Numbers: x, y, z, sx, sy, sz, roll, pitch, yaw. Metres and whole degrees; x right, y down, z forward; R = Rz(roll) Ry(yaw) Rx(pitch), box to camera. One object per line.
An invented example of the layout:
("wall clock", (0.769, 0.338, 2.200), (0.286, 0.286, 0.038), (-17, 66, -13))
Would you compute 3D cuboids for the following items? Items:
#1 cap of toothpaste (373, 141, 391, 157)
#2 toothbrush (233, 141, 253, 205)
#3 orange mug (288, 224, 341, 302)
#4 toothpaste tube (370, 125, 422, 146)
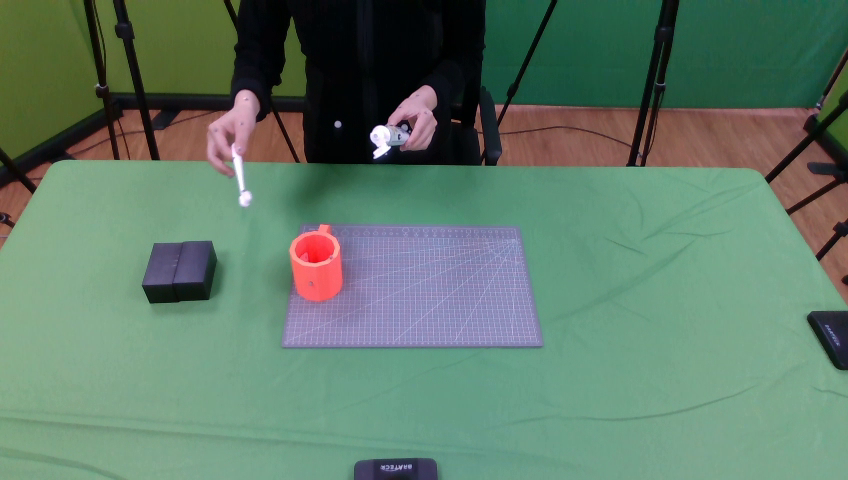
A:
("cap of toothpaste", (-0.071, -0.150, 0.996), (0.037, 0.011, 0.037), (-33, 18, 13))
("toothbrush", (-0.288, -0.111, 0.959), (0.014, 0.017, 0.180), (19, 28, -34))
("orange mug", (-0.192, 0.034, 1.094), (0.083, 0.101, 0.125), (7, 50, 2))
("toothpaste tube", (-0.051, -0.186, 1.076), (0.055, 0.034, 0.165), (40, 22, 8))
